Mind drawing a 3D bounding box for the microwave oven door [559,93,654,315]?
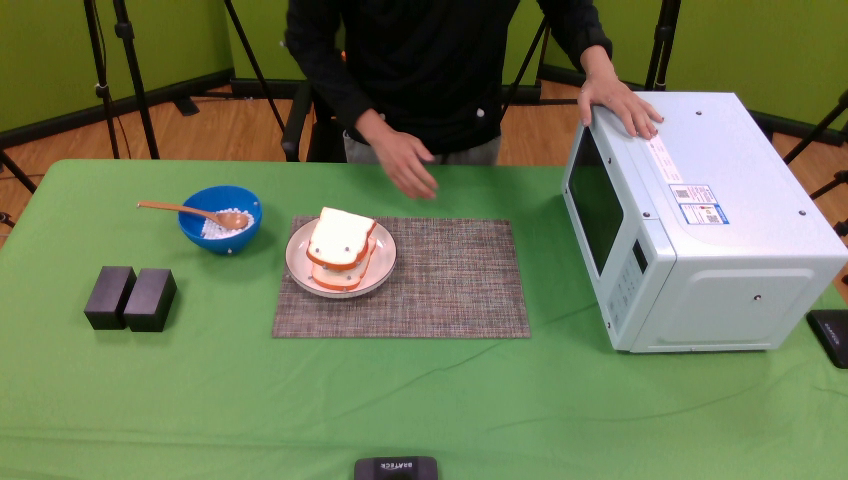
[{"bbox_3d":[0.327,-0.074,1.123,0.039,0.245,0.353,-1,46,-5],"label":"microwave oven door"}]

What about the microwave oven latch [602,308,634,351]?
[{"bbox_3d":[0.332,0.153,1.044,0.030,0.029,0.078,-1,45,-4],"label":"microwave oven latch"}]

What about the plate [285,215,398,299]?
[{"bbox_3d":[-0.154,0.034,1.140,0.208,0.039,0.206,2,46,-2],"label":"plate"}]

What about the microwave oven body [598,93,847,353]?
[{"bbox_3d":[0.475,-0.041,1.109,0.326,0.261,0.438,-1,45,-4],"label":"microwave oven body"}]

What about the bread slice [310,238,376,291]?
[{"bbox_3d":[-0.154,0.039,1.135,0.107,0.018,0.133,7,46,3],"label":"bread slice"}]

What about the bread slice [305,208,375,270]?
[{"bbox_3d":[-0.154,-0.001,1.095,0.105,0.019,0.131,14,48,1],"label":"bread slice"}]

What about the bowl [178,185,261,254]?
[{"bbox_3d":[-0.383,-0.027,1.158,0.151,0.077,0.150,2,46,-2],"label":"bowl"}]

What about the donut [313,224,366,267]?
[{"bbox_3d":[-0.156,0.011,1.120,0.099,0.048,0.098,0,42,1],"label":"donut"}]

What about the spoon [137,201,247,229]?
[{"bbox_3d":[-0.431,-0.051,1.134,0.194,0.022,0.041,14,45,-22],"label":"spoon"}]
